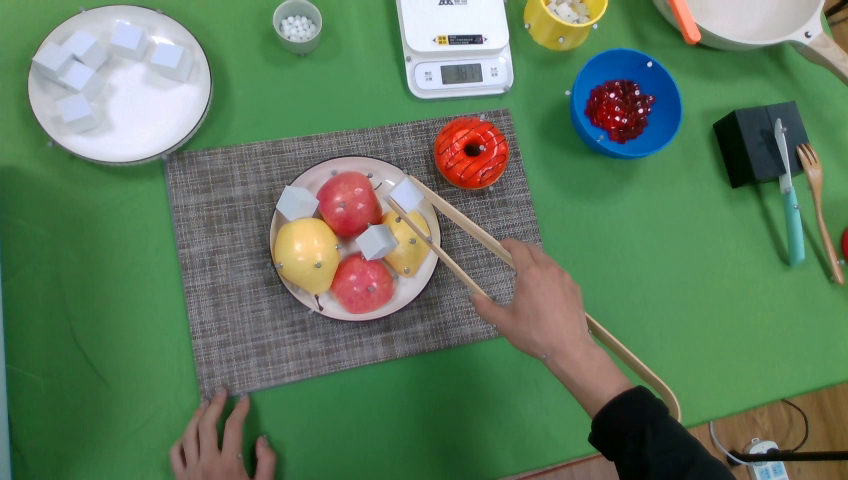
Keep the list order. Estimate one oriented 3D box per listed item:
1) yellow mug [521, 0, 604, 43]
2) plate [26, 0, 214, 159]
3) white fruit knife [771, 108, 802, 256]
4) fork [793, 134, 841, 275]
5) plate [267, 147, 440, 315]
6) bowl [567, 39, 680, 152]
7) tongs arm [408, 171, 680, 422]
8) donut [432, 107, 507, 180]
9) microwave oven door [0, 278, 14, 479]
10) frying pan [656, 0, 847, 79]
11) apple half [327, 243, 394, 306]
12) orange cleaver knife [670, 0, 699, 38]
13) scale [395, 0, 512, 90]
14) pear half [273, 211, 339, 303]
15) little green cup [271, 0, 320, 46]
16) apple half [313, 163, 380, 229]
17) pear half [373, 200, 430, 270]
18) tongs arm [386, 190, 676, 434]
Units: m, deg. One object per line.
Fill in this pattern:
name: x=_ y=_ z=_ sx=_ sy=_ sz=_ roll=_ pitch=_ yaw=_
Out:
yellow mug: x=0.182 y=-0.347 z=0.841 sx=0.130 sy=0.064 sz=0.100 roll=45 pitch=76 yaw=2
plate: x=-0.362 y=-0.194 z=0.737 sx=0.208 sy=0.039 sz=0.206 roll=2 pitch=79 yaw=-9
white fruit knife: x=0.498 y=-0.078 z=0.835 sx=0.016 sy=0.027 sz=0.207 roll=-13 pitch=96 yaw=-12
fork: x=0.552 y=-0.049 z=0.846 sx=0.028 sy=0.018 sz=0.208 roll=-20 pitch=99 yaw=-14
plate: x=-0.084 y=-0.010 z=0.743 sx=0.210 sy=0.038 sz=0.208 roll=2 pitch=79 yaw=-9
bowl: x=0.255 y=-0.182 z=0.816 sx=0.152 sy=0.077 sz=0.151 roll=2 pitch=80 yaw=-9
tongs arm: x=0.119 y=0.049 z=0.657 sx=0.385 sy=0.028 sz=0.028 roll=42 pitch=68 yaw=15
donut: x=0.058 y=-0.125 z=0.786 sx=0.099 sy=0.048 sz=0.098 roll=1 pitch=80 yaw=-6
microwave oven door: x=-0.450 y=0.117 z=0.539 sx=0.039 sy=0.244 sz=0.354 roll=-8 pitch=80 yaw=-10
frying pan: x=0.512 y=-0.344 z=0.876 sx=0.307 sy=0.103 sz=0.485 roll=-38 pitch=79 yaw=-13
apple half: x=-0.077 y=0.040 z=0.725 sx=0.081 sy=0.033 sz=0.081 roll=2 pitch=72 yaw=-7
orange cleaver knife: x=0.342 y=-0.381 z=0.835 sx=0.077 sy=0.012 sz=0.210 roll=-21 pitch=84 yaw=-14
scale: x=0.038 y=-0.306 z=0.827 sx=0.149 sy=0.031 sz=0.200 roll=-6 pitch=81 yaw=-10
pear half: x=-0.132 y=0.019 z=0.708 sx=0.076 sy=0.056 sz=0.109 roll=-16 pitch=86 yaw=-20
little green cup: x=-0.166 y=-0.284 z=0.786 sx=0.062 sy=0.039 sz=0.061 roll=2 pitch=78 yaw=-8
apple half: x=-0.095 y=-0.055 z=0.732 sx=0.075 sy=0.053 sz=0.080 roll=-23 pitch=86 yaw=-10
pear half: x=-0.028 y=-0.009 z=0.746 sx=0.070 sy=0.031 sz=0.087 roll=-9 pitch=76 yaw=3
tongs arm: x=0.102 y=0.065 z=0.650 sx=0.051 sy=0.027 sz=0.382 roll=-39 pitch=73 yaw=-16
